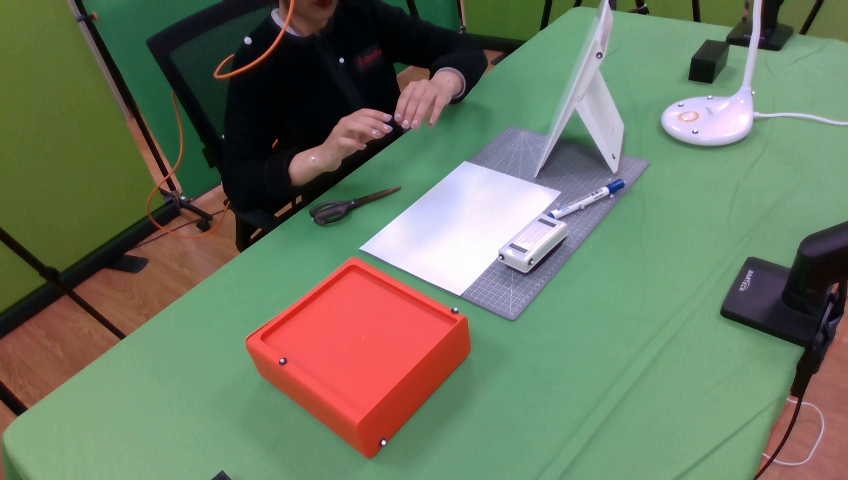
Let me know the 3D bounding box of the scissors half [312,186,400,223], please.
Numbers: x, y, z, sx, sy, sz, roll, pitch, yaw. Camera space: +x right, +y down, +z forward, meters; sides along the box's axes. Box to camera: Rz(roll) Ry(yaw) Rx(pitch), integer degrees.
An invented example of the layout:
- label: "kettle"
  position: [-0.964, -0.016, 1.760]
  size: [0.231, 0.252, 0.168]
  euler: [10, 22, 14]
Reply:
- label: "scissors half"
  position: [-0.119, -0.066, 1.088]
  size: [0.176, 0.013, 0.040]
  euler: [-25, 36, -24]

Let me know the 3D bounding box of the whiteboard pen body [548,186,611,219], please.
- label: "whiteboard pen body"
  position: [0.267, -0.066, 1.004]
  size: [0.141, 0.017, 0.017]
  euler: [-25, 43, -13]

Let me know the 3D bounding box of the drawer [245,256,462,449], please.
- label: "drawer"
  position: [-0.089, 0.136, 0.792]
  size: [0.210, 0.073, 0.195]
  euler: [27, 51, 34]

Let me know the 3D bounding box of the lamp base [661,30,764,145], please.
- label: "lamp base"
  position: [0.535, -0.287, 1.095]
  size: [0.179, 0.181, 0.159]
  euler: [-10, 40, -4]

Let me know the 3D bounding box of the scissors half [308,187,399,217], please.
- label: "scissors half"
  position: [-0.126, -0.074, 1.104]
  size: [0.176, 0.013, 0.039]
  euler: [-16, 28, -11]

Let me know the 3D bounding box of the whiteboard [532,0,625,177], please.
- label: "whiteboard"
  position: [0.320, -0.259, 1.050]
  size: [0.144, 0.306, 0.217]
  euler: [21, 45, 5]

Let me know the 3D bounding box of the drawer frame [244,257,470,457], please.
- label: "drawer frame"
  position: [-0.084, 0.138, 0.788]
  size: [0.212, 0.083, 0.202]
  euler: [25, 50, 33]

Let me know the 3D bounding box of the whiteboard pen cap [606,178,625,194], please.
- label: "whiteboard pen cap"
  position: [0.320, -0.090, 1.016]
  size: [0.033, 0.018, 0.018]
  euler: [-27, 43, -14]

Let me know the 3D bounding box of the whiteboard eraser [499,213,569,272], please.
- label: "whiteboard eraser"
  position: [0.168, 0.006, 0.923]
  size: [0.055, 0.042, 0.113]
  euler: [29, 53, 34]
